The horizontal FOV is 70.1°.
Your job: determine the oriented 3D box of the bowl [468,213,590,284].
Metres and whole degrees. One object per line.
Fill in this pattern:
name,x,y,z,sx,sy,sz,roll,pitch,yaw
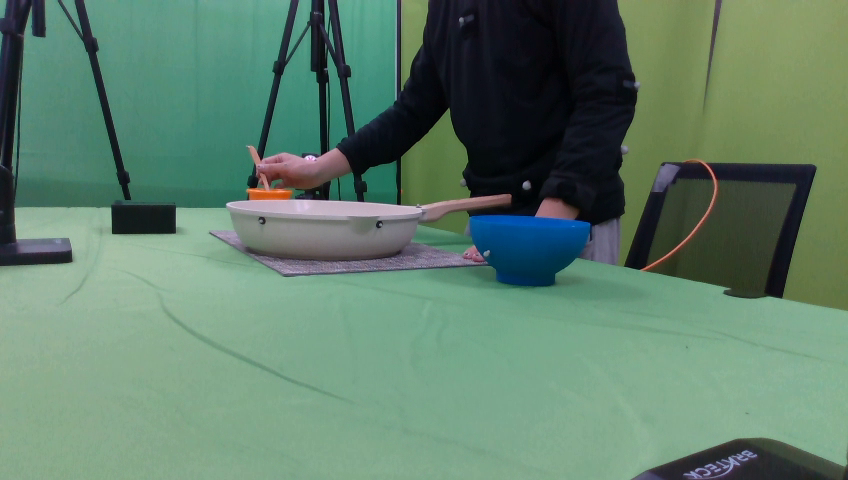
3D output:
bowl,0.128,0.011,0.755,0.151,0.077,0.151,2,7,0

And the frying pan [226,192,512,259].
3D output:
frying pan,-0.058,-0.041,0.974,0.490,0.102,0.305,-11,13,-26

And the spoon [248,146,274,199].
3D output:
spoon,-0.330,-0.118,1.255,0.042,0.193,0.021,-10,-20,-34

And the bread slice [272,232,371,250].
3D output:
bread slice,-0.148,0.001,0.929,0.133,0.018,0.107,5,7,38
